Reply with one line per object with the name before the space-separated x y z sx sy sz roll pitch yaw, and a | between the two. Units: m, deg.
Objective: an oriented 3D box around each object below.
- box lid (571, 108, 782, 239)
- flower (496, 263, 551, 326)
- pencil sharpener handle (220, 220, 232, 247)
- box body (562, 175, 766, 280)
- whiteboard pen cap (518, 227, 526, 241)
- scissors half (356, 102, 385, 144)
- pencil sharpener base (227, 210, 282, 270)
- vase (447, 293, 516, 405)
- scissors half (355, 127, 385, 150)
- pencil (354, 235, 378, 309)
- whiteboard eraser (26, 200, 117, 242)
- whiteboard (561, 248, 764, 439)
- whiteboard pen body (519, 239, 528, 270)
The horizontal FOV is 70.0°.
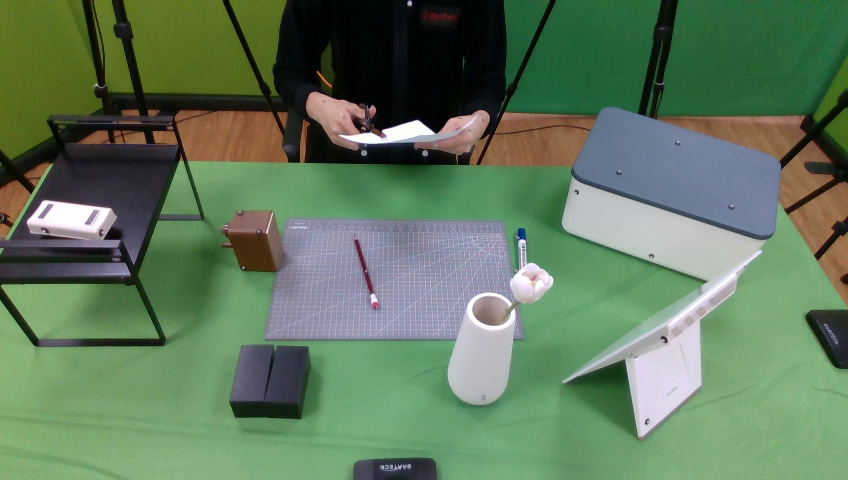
box lid | 0.491 -0.139 1.168 0.370 0.015 0.262 20 49 15
flower | 0.102 0.121 0.853 0.044 0.363 0.038 -2 64 -10
pencil sharpener handle | -0.362 -0.009 1.105 0.030 0.068 0.036 1 52 1
box body | 0.486 -0.088 1.222 0.363 0.161 0.253 20 48 15
whiteboard pen cap | 0.197 -0.009 1.220 0.018 0.018 0.033 6 51 1
scissors half | -0.092 -0.198 1.038 0.013 0.040 0.174 -5 33 -19
pencil sharpener base | -0.311 0.001 1.112 0.077 0.107 0.061 1 47 1
vase | 0.091 0.169 0.921 0.098 0.201 0.097 3 47 -3
scissors half | -0.094 -0.177 1.044 0.013 0.040 0.174 0 5 -20
pencil | -0.112 0.055 1.143 0.012 0.012 0.192 -10 46 -13
whiteboard eraser | -0.532 -0.026 0.919 0.113 0.042 0.055 7 45 3
whiteboard | 0.386 0.176 0.905 0.217 0.306 0.143 -26 72 -27
whiteboard pen body | 0.193 0.035 1.181 0.017 0.017 0.140 6 48 1
